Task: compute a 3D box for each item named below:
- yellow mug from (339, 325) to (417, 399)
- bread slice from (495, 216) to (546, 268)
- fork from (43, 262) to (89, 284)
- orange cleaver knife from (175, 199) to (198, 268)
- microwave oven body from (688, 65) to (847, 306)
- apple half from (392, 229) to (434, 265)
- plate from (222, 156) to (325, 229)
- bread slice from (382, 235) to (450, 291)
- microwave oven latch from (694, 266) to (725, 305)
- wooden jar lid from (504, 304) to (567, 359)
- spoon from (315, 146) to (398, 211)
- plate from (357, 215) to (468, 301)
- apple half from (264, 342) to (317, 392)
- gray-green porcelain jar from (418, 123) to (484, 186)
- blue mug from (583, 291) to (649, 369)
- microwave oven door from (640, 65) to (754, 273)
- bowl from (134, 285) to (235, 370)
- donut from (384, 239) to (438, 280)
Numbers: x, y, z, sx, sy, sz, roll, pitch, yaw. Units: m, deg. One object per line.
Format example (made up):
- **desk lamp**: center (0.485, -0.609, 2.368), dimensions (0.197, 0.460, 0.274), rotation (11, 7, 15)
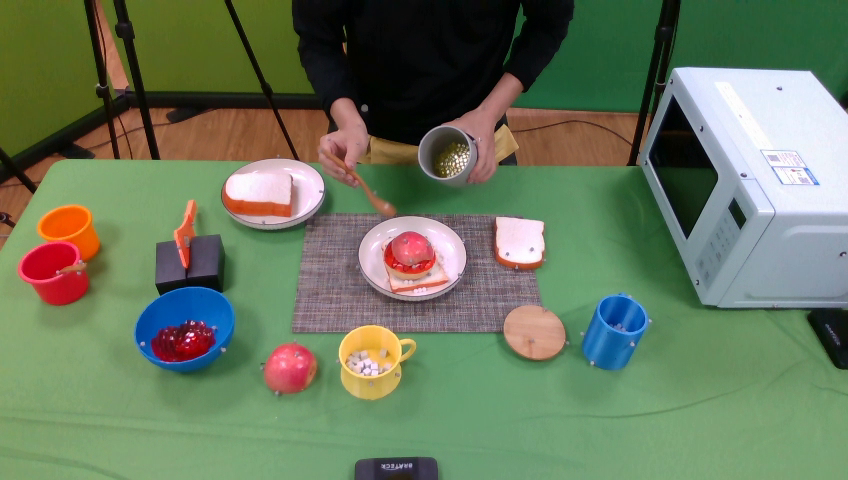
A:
- **yellow mug**: center (-0.072, 0.190, 0.978), dimensions (0.131, 0.064, 0.099), rotation (-17, 50, -20)
- **bread slice**: center (0.194, 0.002, 1.204), dimensions (0.105, 0.019, 0.131), rotation (5, 45, 2)
- **fork**: center (-0.599, 0.053, 1.014), dimensions (0.207, 0.019, 0.028), rotation (-14, 30, 45)
- **orange cleaver knife**: center (-0.438, -0.017, 1.138), dimensions (0.012, 0.077, 0.210), rotation (-13, 27, -7)
- **microwave oven body**: center (0.669, -0.111, 1.176), dimensions (0.326, 0.261, 0.439), rotation (0, 46, -3)
- **apple half**: center (-0.020, 0.004, 1.083), dimensions (0.081, 0.033, 0.081), rotation (7, 49, -7)
- **plate**: center (-0.308, -0.095, 1.251), dimensions (0.209, 0.038, 0.208), rotation (2, 47, -2)
- **bread slice**: center (-0.026, 0.038, 1.138), dimensions (0.107, 0.018, 0.133), rotation (-12, 45, -15)
- **microwave oven latch**: center (0.523, 0.082, 1.115), dimensions (0.030, 0.029, 0.078), rotation (3, 46, 0)
- **wooden jar lid**: center (0.192, 0.161, 1.051), dimensions (0.108, 0.021, 0.107), rotation (2, 50, -3)
- **spoon**: center (-0.112, -0.104, 1.031), dimensions (0.021, 0.195, 0.041), rotation (-36, 40, 15)
- **plate**: center (-0.022, 0.037, 1.141), dimensions (0.208, 0.039, 0.206), rotation (2, 46, -2)
- **apple half**: center (-0.214, 0.198, 0.970), dimensions (0.074, 0.053, 0.080), rotation (19, 48, 10)
- **gray-green porcelain jar**: center (0.057, -0.163, 1.184), dimensions (0.105, 0.127, 0.105), rotation (-1, 87, 17)
- **blue mug**: center (0.324, 0.142, 1.023), dimensions (0.082, 0.106, 0.116), rotation (15, 47, 11)
- **microwave oven door**: center (0.523, -0.147, 1.193), dimensions (0.039, 0.245, 0.353), rotation (0, 47, -3)
- **bowl**: center (-0.377, 0.155, 0.981), dimensions (0.151, 0.077, 0.150), rotation (2, 46, -2)
- **donut**: center (-0.025, 0.029, 1.109), dimensions (0.099, 0.048, 0.098), rotation (2, 46, -2)
